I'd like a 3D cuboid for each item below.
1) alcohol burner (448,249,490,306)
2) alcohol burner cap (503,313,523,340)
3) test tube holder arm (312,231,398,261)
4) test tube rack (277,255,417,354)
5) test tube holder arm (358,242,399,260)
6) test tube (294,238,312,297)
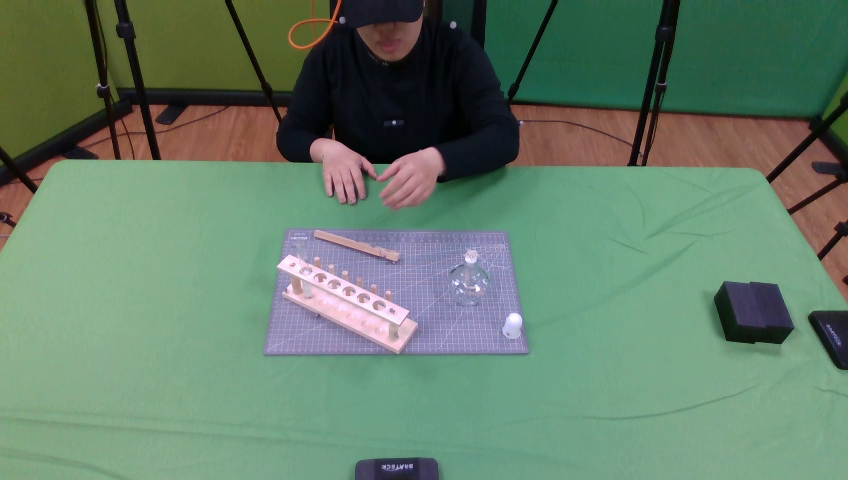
[{"bbox_3d":[0.081,0.062,1.078,0.078,0.120,0.077,1,45,-1],"label":"alcohol burner"},{"bbox_3d":[0.155,0.147,1.051,0.034,0.048,0.033,1,46,-1],"label":"alcohol burner cap"},{"bbox_3d":[-0.135,0.011,1.175,0.178,0.015,0.013,15,13,11],"label":"test tube holder arm"},{"bbox_3d":[-0.132,0.099,1.045,0.241,0.085,0.066,23,49,17],"label":"test tube rack"},{"bbox_3d":[-0.090,0.021,1.172,0.087,0.015,0.010,15,13,11],"label":"test tube holder arm"},{"bbox_3d":[-0.202,0.050,1.018,0.017,0.151,0.017,2,50,-2],"label":"test tube"}]
